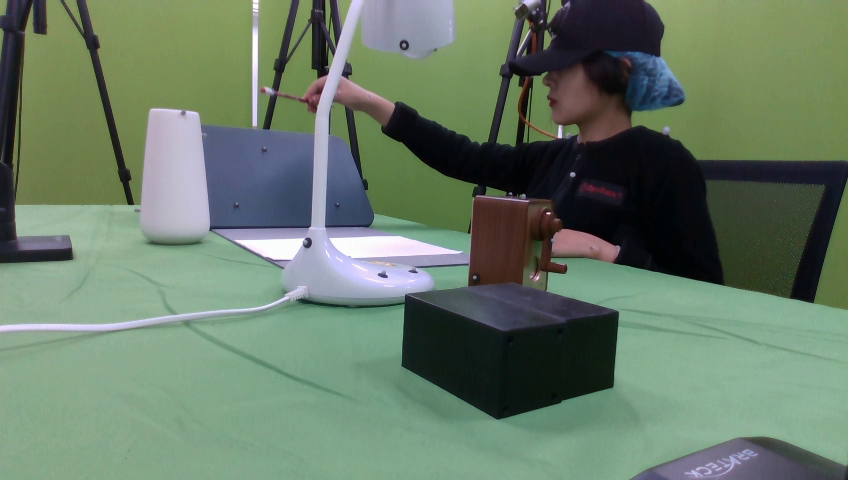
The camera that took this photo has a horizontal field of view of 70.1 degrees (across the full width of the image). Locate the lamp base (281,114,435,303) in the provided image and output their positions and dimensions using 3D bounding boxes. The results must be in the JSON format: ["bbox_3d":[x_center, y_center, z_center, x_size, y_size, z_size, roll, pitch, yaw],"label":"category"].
[{"bbox_3d":[-0.071,-0.035,0.614,0.160,0.180,0.180,5,10,27],"label":"lamp base"}]

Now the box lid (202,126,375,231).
[{"bbox_3d":[-0.294,-0.128,1.235,0.373,0.262,0.015,-2,-35,-32],"label":"box lid"}]

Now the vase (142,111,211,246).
[{"bbox_3d":[-0.378,-0.093,0.920,0.098,0.200,0.098,2,9,0],"label":"vase"}]

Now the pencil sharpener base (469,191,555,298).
[{"bbox_3d":[0.097,0.003,0.652,0.076,0.107,0.061,8,9,38],"label":"pencil sharpener base"}]

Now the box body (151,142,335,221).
[{"bbox_3d":[-0.413,-0.135,1.379,0.366,0.160,0.253,-2,9,-31],"label":"box body"}]

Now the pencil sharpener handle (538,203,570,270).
[{"bbox_3d":[0.137,-0.003,0.619,0.030,0.067,0.036,8,5,38],"label":"pencil sharpener handle"}]

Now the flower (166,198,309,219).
[{"bbox_3d":[-0.399,-0.061,1.357,0.044,0.038,0.364,-36,-22,32],"label":"flower"}]

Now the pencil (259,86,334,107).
[{"bbox_3d":[-0.264,-0.300,1.278,0.012,0.012,0.195,8,4,40],"label":"pencil"}]

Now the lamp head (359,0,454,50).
[{"bbox_3d":[-0.024,-0.283,0.674,0.112,0.123,0.112,-3,38,3],"label":"lamp head"}]
